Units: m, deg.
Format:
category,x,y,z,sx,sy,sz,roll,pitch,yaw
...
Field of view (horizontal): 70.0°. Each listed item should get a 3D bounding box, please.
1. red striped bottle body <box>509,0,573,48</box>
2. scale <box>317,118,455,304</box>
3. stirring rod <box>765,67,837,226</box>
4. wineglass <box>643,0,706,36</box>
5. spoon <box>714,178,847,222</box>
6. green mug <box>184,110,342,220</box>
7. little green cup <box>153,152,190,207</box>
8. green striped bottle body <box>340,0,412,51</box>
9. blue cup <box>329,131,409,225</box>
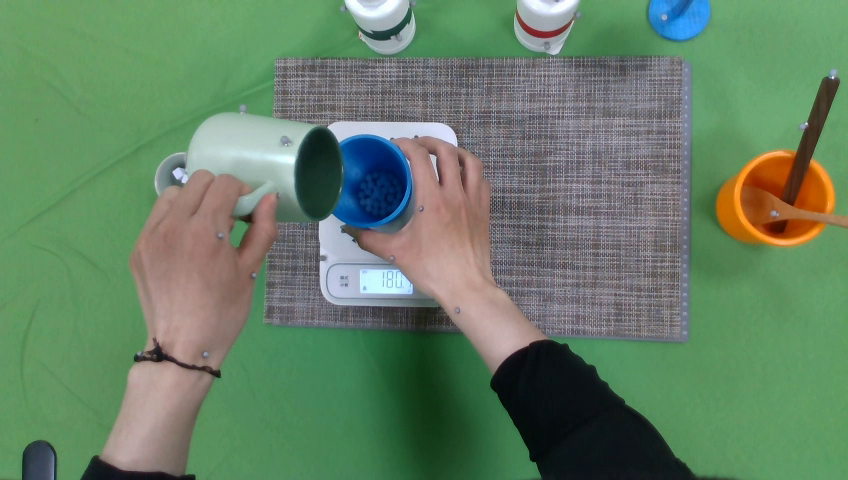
category,x,y,z,sx,sy,sz,roll,pitch,yaw
red striped bottle body,0.119,-0.245,0.609,0.063,0.120,0.063,0,87,5
scale,-0.041,-0.032,0.654,0.148,0.031,0.200,0,88,6
stirring rod,0.348,-0.079,0.566,0.014,0.178,0.006,10,47,20
wineglass,0.261,-0.258,0.570,0.073,0.172,0.073,0,86,6
spoon,0.366,-0.026,0.562,0.022,0.192,0.041,11,96,-37
green mug,-0.140,-0.053,0.497,0.104,0.125,0.093,7,122,20
little green cup,-0.263,-0.065,0.676,0.061,0.039,0.061,0,87,4
green striped bottle body,-0.050,-0.246,0.625,0.063,0.119,0.063,0,87,6
blue cup,-0.052,-0.054,0.591,0.092,0.100,0.092,0,89,4
